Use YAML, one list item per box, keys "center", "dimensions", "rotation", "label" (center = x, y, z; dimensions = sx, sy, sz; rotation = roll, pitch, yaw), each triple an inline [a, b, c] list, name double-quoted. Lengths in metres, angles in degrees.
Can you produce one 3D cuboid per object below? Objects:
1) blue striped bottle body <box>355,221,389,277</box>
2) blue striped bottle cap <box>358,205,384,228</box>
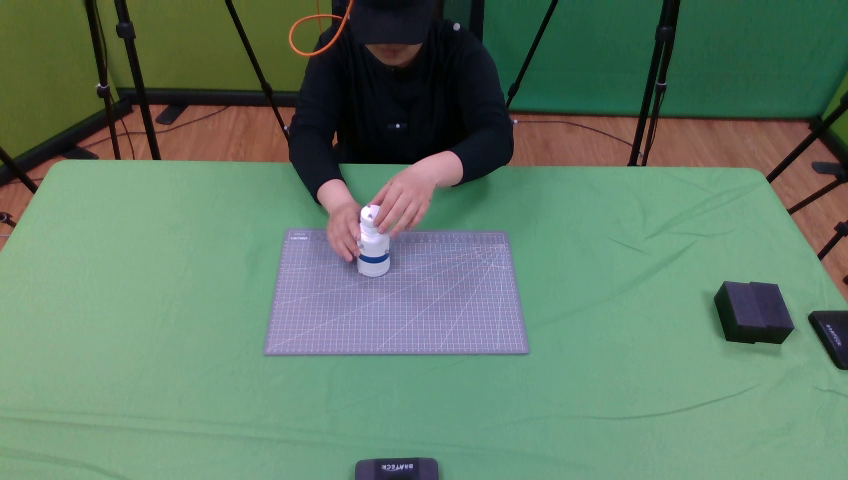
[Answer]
- center: [-0.095, 0.007, 1.112]
  dimensions: [0.063, 0.121, 0.062]
  rotation: [2, 46, -2]
  label: "blue striped bottle body"
- center: [-0.093, -0.041, 1.069]
  dimensions: [0.044, 0.021, 0.044]
  rotation: [9, 44, -9]
  label: "blue striped bottle cap"
